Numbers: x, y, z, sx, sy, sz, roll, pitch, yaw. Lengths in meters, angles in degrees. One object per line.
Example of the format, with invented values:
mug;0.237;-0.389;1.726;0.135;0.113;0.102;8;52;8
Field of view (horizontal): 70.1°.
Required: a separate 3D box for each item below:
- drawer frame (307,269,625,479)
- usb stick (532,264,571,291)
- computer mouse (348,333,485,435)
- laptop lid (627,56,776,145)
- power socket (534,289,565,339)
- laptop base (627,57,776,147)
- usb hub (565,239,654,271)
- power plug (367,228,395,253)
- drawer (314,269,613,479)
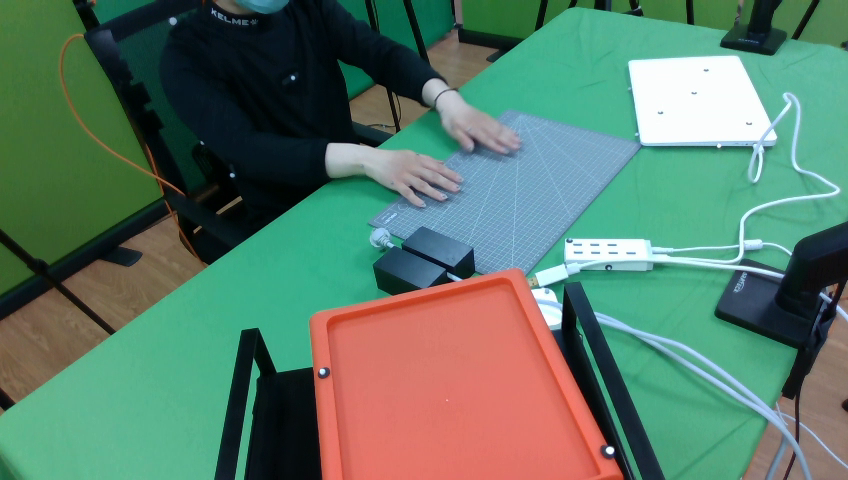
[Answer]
drawer frame;0.019;0.135;0.487;0.202;0.083;0.212;-12;41;-7
usb stick;0.181;0.058;0.876;0.059;0.027;0.021;-32;89;-7
computer mouse;-0.006;0.122;0.528;0.117;0.041;0.063;20;40;14
laptop lid;0.543;-0.291;1.221;0.241;0.013;0.356;1;41;14
power socket;0.081;0.112;0.822;0.227;0.033;0.072;-7;41;0
laptop base;0.546;-0.282;1.229;0.235;0.023;0.353;-1;41;13
usb hub;0.275;0.022;0.906;0.125;0.025;0.049;1;41;9
power plug;-0.066;0.010;0.956;0.035;0.053;0.072;-32;56;3
drawer;0.018;0.134;0.490;0.195;0.073;0.210;-11;41;-6
